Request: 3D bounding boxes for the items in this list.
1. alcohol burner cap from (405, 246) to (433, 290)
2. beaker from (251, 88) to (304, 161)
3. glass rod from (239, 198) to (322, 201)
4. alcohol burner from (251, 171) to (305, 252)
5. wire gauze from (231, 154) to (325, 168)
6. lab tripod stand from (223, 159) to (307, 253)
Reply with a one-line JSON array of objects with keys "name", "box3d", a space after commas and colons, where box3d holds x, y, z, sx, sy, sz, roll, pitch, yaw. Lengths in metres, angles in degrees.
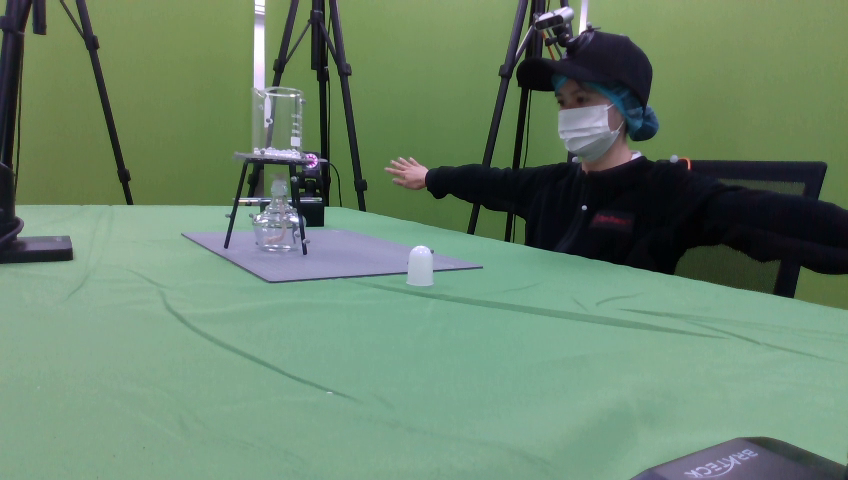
[{"name": "alcohol burner cap", "box3d": [-0.005, 0.031, 0.698, 0.034, 0.048, 0.034, 3, 8, 0]}, {"name": "beaker", "box3d": [-0.214, -0.165, 0.874, 0.074, 0.100, 0.084, 4, 6, 15]}, {"name": "glass rod", "box3d": [-0.292, -0.082, 1.232, 0.201, 0.008, 0.008, -4, 10, -44]}, {"name": "alcohol burner", "box3d": [-0.214, -0.042, 0.888, 0.078, 0.119, 0.078, 2, 9, 0]}, {"name": "wire gauze", "box3d": [-0.215, -0.117, 0.882, 0.125, 0.011, 0.121, 3, 7, -19]}, {"name": "lab tripod stand", "box3d": [-0.220, -0.053, 0.896, 0.148, 0.131, 0.148, 1, 6, 0]}]
